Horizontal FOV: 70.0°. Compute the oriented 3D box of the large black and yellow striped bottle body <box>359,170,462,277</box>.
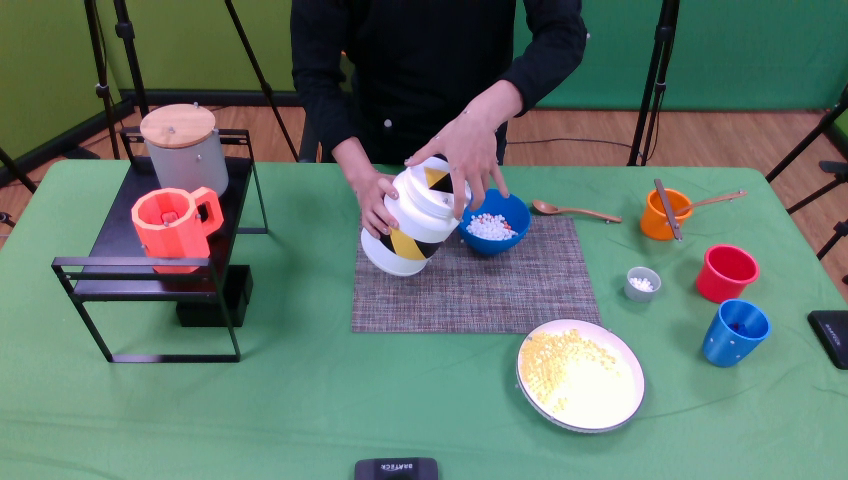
[{"bbox_3d":[-0.017,-0.038,1.029,0.131,0.184,0.130,20,44,-20],"label":"large black and yellow striped bottle body"}]

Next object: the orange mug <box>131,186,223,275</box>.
[{"bbox_3d":[-0.354,-0.023,0.887,0.083,0.101,0.126,31,56,24],"label":"orange mug"}]

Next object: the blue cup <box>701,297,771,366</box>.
[{"bbox_3d":[0.519,0.162,1.025,0.093,0.101,0.092,3,45,-3],"label":"blue cup"}]

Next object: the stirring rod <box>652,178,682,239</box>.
[{"bbox_3d":[0.481,-0.065,1.204,0.014,0.006,0.175,2,46,-1],"label":"stirring rod"}]

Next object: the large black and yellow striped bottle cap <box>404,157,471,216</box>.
[{"bbox_3d":[0.023,-0.088,0.974,0.115,0.019,0.114,20,42,-20],"label":"large black and yellow striped bottle cap"}]

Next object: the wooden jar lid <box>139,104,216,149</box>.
[{"bbox_3d":[-0.372,-0.169,0.920,0.108,0.021,0.107,4,44,-4],"label":"wooden jar lid"}]

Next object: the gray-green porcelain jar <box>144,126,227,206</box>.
[{"bbox_3d":[-0.375,-0.125,0.967,0.106,0.127,0.105,2,46,-2],"label":"gray-green porcelain jar"}]

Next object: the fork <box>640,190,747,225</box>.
[{"bbox_3d":[0.533,-0.064,1.211,0.207,0.019,0.028,-22,28,39],"label":"fork"}]

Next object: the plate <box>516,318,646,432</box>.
[{"bbox_3d":[0.253,0.221,0.992,0.209,0.038,0.208,2,46,-2],"label":"plate"}]

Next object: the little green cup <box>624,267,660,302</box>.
[{"bbox_3d":[0.406,0.084,1.135,0.061,0.039,0.061,3,45,-3],"label":"little green cup"}]

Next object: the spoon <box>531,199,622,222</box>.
[{"bbox_3d":[0.322,-0.060,1.279,0.194,0.022,0.041,8,32,5],"label":"spoon"}]

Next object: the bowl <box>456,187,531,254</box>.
[{"bbox_3d":[0.129,-0.025,1.187,0.151,0.077,0.150,2,46,-2],"label":"bowl"}]
